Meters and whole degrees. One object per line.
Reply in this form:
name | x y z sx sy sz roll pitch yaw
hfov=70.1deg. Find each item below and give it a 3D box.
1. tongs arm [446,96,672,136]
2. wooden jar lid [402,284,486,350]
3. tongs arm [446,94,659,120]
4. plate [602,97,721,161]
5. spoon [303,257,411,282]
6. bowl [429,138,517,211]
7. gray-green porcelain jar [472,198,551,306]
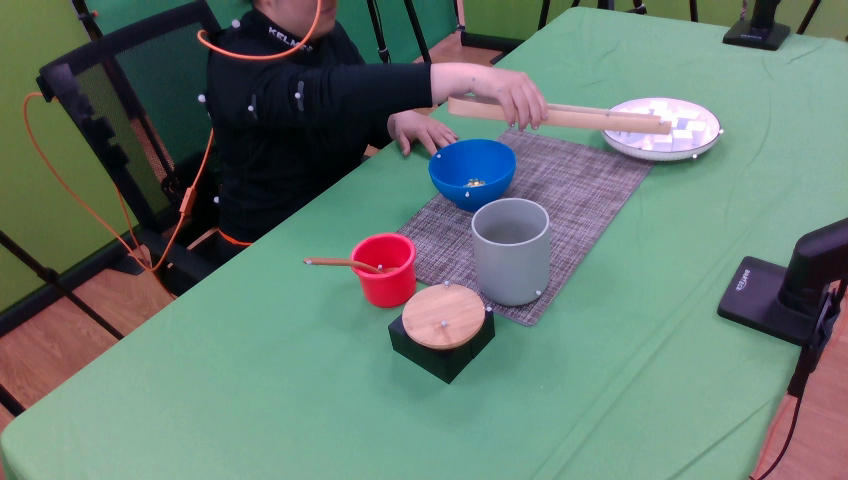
tongs arm | 0.231 -0.211 1.032 0.386 0.026 0.050 3 25 -9
wooden jar lid | 0.027 0.101 0.786 0.108 0.021 0.108 -5 39 4
tongs arm | 0.230 -0.224 1.061 0.389 0.028 0.028 4 29 -7
plate | 0.437 -0.203 1.126 0.209 0.038 0.208 -5 39 4
spoon | -0.092 0.038 0.865 0.195 0.021 0.041 16 15 -46
bowl | 0.087 -0.104 1.043 0.151 0.077 0.150 -6 40 5
gray-green porcelain jar | 0.125 0.021 0.850 0.106 0.127 0.105 -6 40 5
